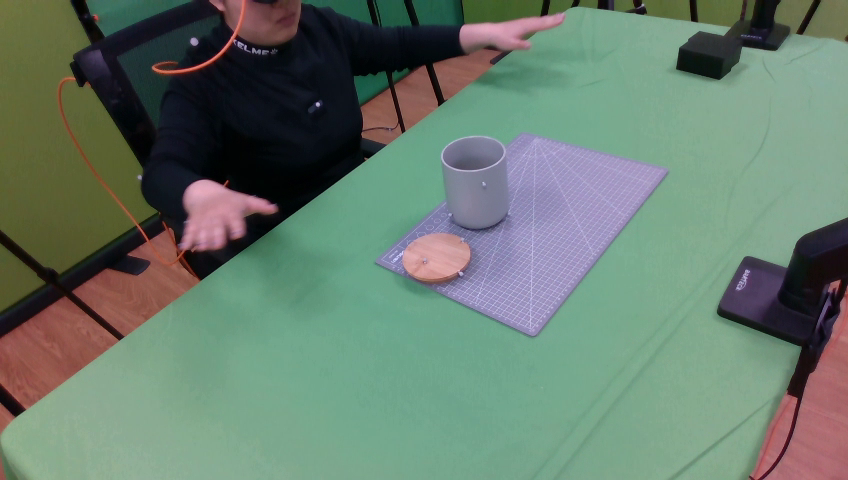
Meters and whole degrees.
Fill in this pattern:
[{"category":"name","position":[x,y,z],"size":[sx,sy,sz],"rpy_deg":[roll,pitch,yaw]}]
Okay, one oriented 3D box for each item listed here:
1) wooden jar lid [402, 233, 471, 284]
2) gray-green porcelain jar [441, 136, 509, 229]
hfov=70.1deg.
[{"category":"wooden jar lid","position":[0.020,0.030,0.941],"size":[0.108,0.021,0.108],"rpy_deg":[-4,40,4]},{"category":"gray-green porcelain jar","position":[0.086,-0.090,0.988],"size":[0.106,0.127,0.105],"rpy_deg":[-5,40,5]}]
